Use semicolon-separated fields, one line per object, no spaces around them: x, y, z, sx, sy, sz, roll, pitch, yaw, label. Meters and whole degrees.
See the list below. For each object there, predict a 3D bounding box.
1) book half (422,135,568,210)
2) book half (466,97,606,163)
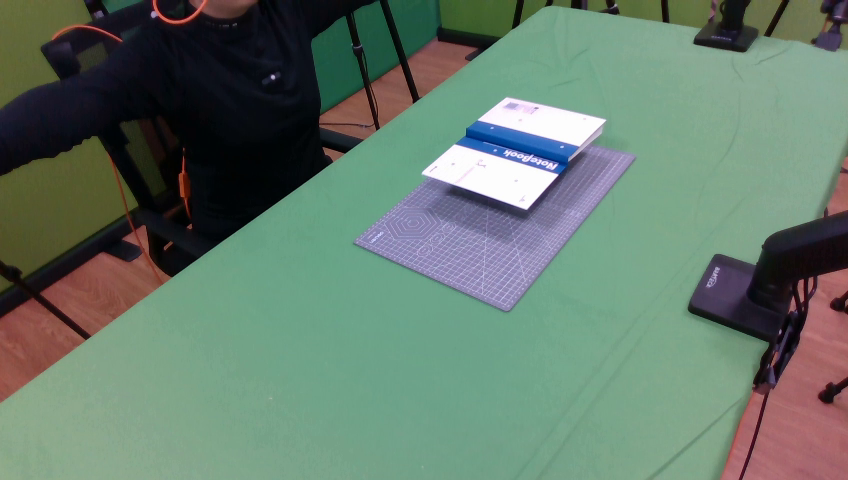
0.119;-0.121;1.027;0.208;0.007;0.143;22;49;30;book half
0.204;-0.207;1.105;0.208;0.016;0.149;22;47;31;book half
